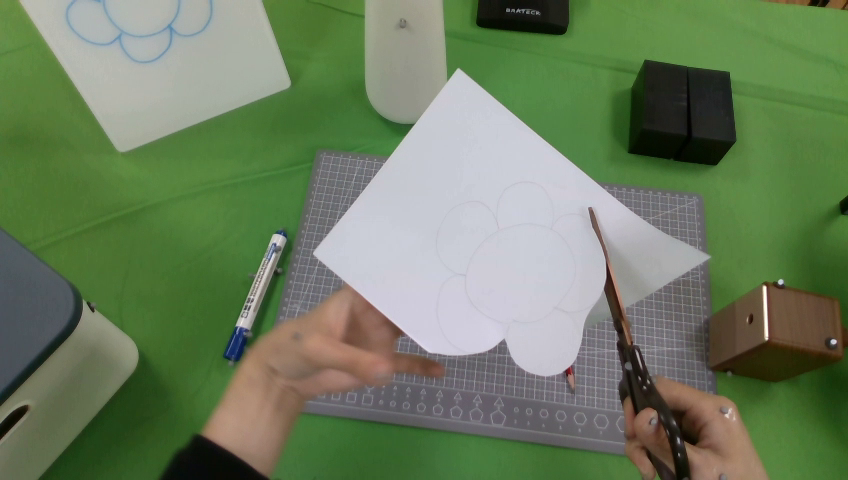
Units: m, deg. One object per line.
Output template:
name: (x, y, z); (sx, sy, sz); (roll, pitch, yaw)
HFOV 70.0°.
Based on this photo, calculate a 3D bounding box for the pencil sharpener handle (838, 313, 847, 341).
pencil sharpener handle: (0.380, 0.091, 0.566); (0.030, 0.068, 0.035); (11, 60, 0)

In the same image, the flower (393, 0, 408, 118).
flower: (-0.028, -0.270, 0.588); (0.044, 0.365, 0.038); (0, 48, 3)

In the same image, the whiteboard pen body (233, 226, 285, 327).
whiteboard pen body: (-0.174, 0.047, 0.630); (0.017, 0.017, 0.140); (13, 64, 5)

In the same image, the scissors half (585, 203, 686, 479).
scissors half: (0.123, 0.061, 0.360); (0.013, 0.040, 0.174); (-16, 83, -3)

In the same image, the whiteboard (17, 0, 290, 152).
whiteboard: (-0.311, -0.291, 0.656); (0.217, 0.308, 0.142); (-25, 49, -12)

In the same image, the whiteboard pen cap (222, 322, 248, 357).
whiteboard pen cap: (-0.187, 0.098, 0.605); (0.018, 0.018, 0.033); (13, 62, 5)

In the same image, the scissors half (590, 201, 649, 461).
scissors half: (0.123, 0.059, 0.381); (0.013, 0.040, 0.176); (-15, 105, 2)

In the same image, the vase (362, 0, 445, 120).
vase: (-0.024, -0.222, 0.658); (0.098, 0.201, 0.097); (0, 64, 0)

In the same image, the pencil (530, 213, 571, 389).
pencil: (0.134, 0.059, 0.637); (0.012, 0.012, 0.192); (-6, 68, -4)

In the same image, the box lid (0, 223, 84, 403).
box lid: (-0.478, 0.045, 0.462); (0.370, 0.015, 0.262); (32, 68, 12)

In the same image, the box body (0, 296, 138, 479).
box body: (-0.478, 0.078, 0.529); (0.362, 0.161, 0.253); (32, 69, 12)

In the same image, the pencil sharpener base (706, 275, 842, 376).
pencil sharpener base: (0.330, 0.085, 0.578); (0.077, 0.107, 0.061); (11, 65, 0)
